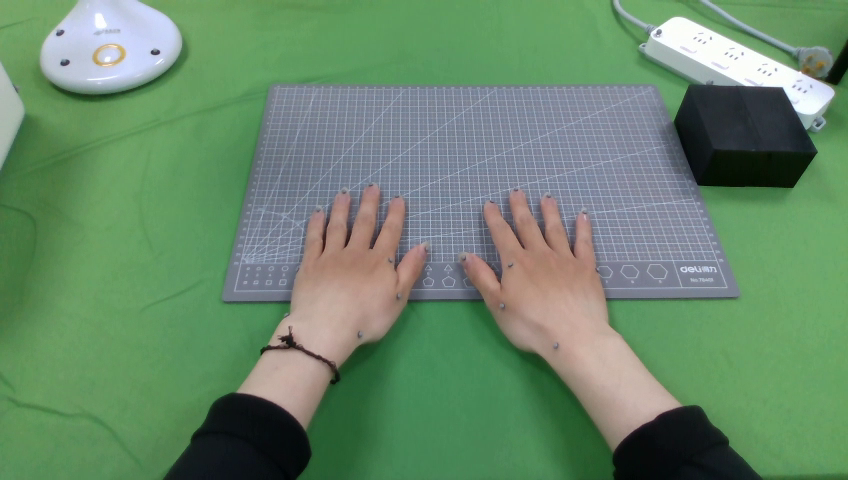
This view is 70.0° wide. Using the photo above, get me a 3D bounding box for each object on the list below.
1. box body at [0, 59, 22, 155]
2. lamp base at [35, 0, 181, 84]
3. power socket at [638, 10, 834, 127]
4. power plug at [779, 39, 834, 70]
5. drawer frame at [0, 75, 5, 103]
[{"bbox_3d":[-0.532,-0.062,0.492,0.254,0.162,0.360,-4,52,-5],"label":"box body"},{"bbox_3d":[-0.377,-0.294,0.665,0.161,0.182,0.177,-20,53,-16],"label":"lamp base"},{"bbox_3d":[0.361,-0.205,0.707,0.072,0.033,0.224,-36,61,-26],"label":"power socket"},{"bbox_3d":[0.457,-0.223,0.734,0.053,0.035,0.072,-27,23,-26],"label":"power plug"},{"bbox_3d":[-0.521,-0.108,0.525,0.202,0.083,0.211,4,45,-14],"label":"drawer frame"}]
